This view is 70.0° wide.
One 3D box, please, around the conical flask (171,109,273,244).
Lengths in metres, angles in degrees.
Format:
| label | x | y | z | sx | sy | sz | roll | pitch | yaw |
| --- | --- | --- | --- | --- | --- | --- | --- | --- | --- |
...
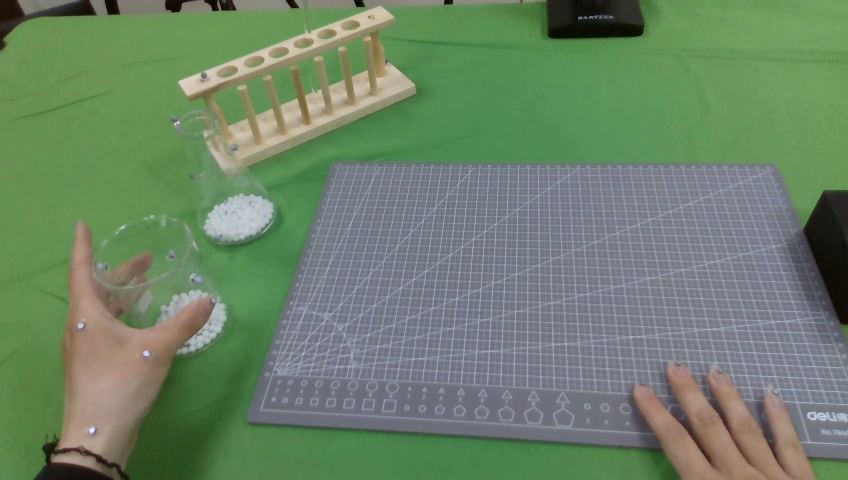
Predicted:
| label | x | y | z | sx | sy | sz | roll | pitch | yaw |
| --- | --- | --- | --- | --- | --- | --- | --- | --- | --- |
| conical flask | -0.191 | -0.060 | 0.560 | 0.075 | 0.123 | 0.074 | -3 | 47 | 4 |

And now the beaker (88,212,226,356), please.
| label | x | y | z | sx | sy | sz | roll | pitch | yaw |
| --- | --- | --- | --- | --- | --- | --- | --- | --- | --- |
| beaker | -0.207 | 0.038 | 0.488 | 0.074 | 0.101 | 0.083 | -1 | 47 | 4 |

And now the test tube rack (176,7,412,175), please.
| label | x | y | z | sx | sy | sz | roll | pitch | yaw |
| --- | --- | --- | --- | --- | --- | --- | --- | --- | --- |
| test tube rack | -0.136 | -0.170 | 0.678 | 0.242 | 0.086 | 0.066 | -28 | 51 | -18 |

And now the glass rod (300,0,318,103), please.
| label | x | y | z | sx | sy | sz | roll | pitch | yaw |
| --- | --- | --- | --- | --- | --- | --- | --- | --- | --- |
| glass rod | -0.127 | -0.238 | 0.649 | 0.008 | 0.201 | 0.008 | 0 | 41 | 0 |
